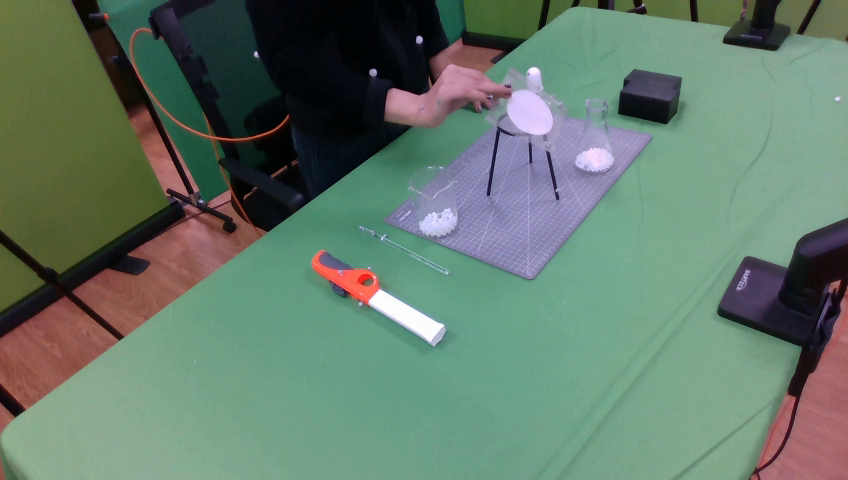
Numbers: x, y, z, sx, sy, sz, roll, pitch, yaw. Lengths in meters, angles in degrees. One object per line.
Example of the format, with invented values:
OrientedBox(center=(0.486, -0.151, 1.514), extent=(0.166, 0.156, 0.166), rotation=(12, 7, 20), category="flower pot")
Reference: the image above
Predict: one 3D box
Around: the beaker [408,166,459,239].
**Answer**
OrientedBox(center=(0.018, -0.057, 0.984), extent=(0.074, 0.101, 0.083), rotation=(-6, 41, 5), category="beaker")

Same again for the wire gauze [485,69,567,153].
OrientedBox(center=(0.168, -0.205, 0.966), extent=(0.122, 0.011, 0.125), rotation=(30, 57, -8), category="wire gauze")

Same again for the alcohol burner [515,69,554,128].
OrientedBox(center=(0.221, -0.285, 1.203), extent=(0.078, 0.119, 0.077), rotation=(-4, 39, 4), category="alcohol burner")

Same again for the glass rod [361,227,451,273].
OrientedBox(center=(-0.033, 0.014, 0.985), extent=(0.198, 0.008, 0.008), rotation=(25, 51, 34), category="glass rod")

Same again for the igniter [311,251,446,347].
OrientedBox(center=(-0.078, 0.081, 0.899), extent=(0.274, 0.025, 0.057), rotation=(27, 63, 35), category="igniter")

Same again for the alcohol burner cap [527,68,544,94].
OrientedBox(center=(0.216, -0.312, 1.179), extent=(0.034, 0.048, 0.033), rotation=(-9, 40, 8), category="alcohol burner cap")

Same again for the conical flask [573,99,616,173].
OrientedBox(center=(0.302, -0.184, 1.061), extent=(0.075, 0.122, 0.075), rotation=(-5, 40, 5), category="conical flask")

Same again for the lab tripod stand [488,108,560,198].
OrientedBox(center=(0.173, -0.150, 1.037), extent=(0.148, 0.132, 0.147), rotation=(-6, 38, 6), category="lab tripod stand")
